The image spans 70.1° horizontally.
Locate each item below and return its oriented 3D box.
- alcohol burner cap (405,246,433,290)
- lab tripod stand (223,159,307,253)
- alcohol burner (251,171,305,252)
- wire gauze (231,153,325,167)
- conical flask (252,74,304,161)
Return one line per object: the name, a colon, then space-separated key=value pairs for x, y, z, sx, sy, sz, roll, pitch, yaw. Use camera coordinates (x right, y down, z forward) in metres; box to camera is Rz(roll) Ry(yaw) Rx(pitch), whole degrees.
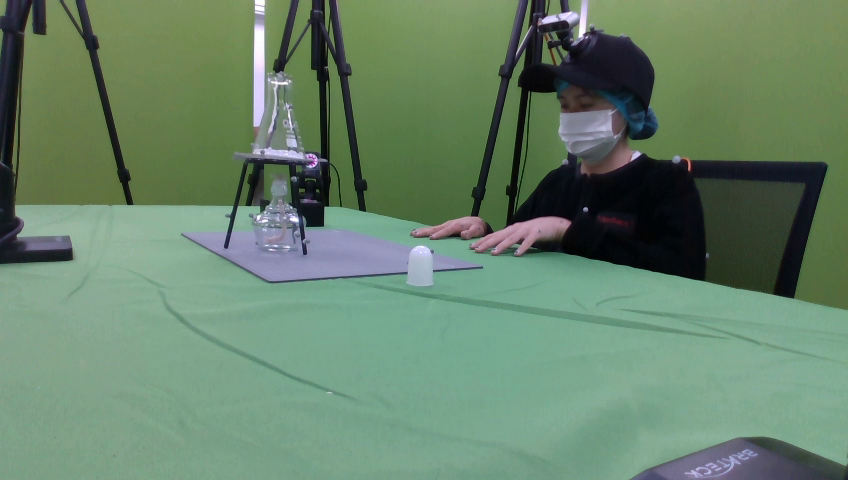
alcohol burner cap: x=-0.005 y=0.031 z=0.698 sx=0.034 sy=0.048 sz=0.034 roll=3 pitch=8 yaw=0
lab tripod stand: x=-0.220 y=-0.053 z=0.896 sx=0.148 sy=0.131 sz=0.148 roll=1 pitch=6 yaw=0
alcohol burner: x=-0.214 y=-0.042 z=0.888 sx=0.078 sy=0.119 sz=0.078 roll=2 pitch=9 yaw=0
wire gauze: x=-0.215 y=-0.117 z=0.882 sx=0.125 sy=0.011 sz=0.121 roll=3 pitch=7 yaw=-19
conical flask: x=-0.211 y=-0.177 z=0.879 sx=0.075 sy=0.122 sz=0.075 roll=3 pitch=6 yaw=0
